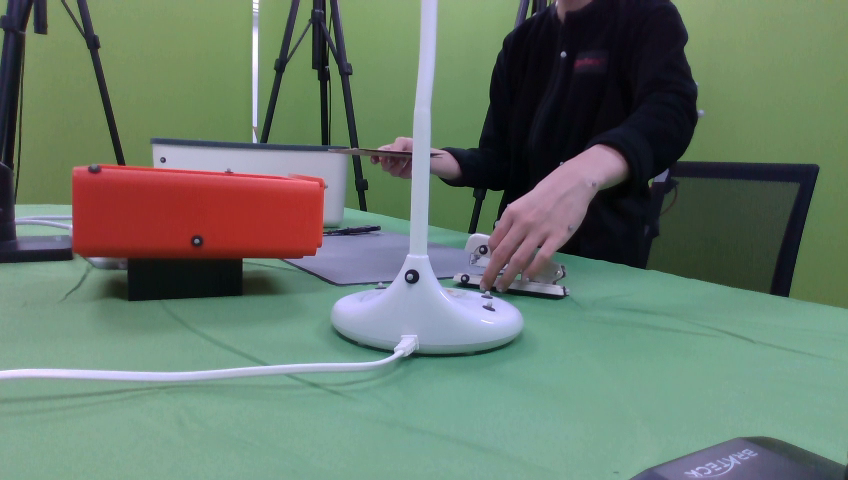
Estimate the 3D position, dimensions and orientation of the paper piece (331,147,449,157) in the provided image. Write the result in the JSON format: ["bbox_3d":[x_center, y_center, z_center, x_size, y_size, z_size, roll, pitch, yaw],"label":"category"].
[{"bbox_3d":[-0.055,-0.129,0.887,0.139,0.008,0.135,1,8,-28],"label":"paper piece"}]

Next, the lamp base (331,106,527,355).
[{"bbox_3d":[0.006,-0.012,0.478,0.161,0.180,0.179,2,10,2],"label":"lamp base"}]

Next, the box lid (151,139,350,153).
[{"bbox_3d":[-0.352,-0.191,1.256,0.373,0.015,0.262,0,8,-18],"label":"box lid"}]

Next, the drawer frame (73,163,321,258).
[{"bbox_3d":[-0.232,-0.034,0.635,0.214,0.082,0.201,1,8,-23],"label":"drawer frame"}]

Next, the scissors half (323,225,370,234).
[{"bbox_3d":[-0.166,-0.015,1.094,0.040,0.013,0.176,2,7,39],"label":"scissors half"}]

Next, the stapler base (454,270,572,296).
[{"bbox_3d":[0.098,0.043,0.677,0.130,0.024,0.041,7,2,25],"label":"stapler base"}]

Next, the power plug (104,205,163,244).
[{"bbox_3d":[-0.390,-0.021,0.815,0.073,0.052,0.035,-1,8,-27],"label":"power plug"}]

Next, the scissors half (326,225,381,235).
[{"bbox_3d":[-0.152,-0.014,1.079,0.176,0.013,0.040,-7,2,-33],"label":"scissors half"}]

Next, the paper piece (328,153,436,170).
[{"bbox_3d":[-0.064,-0.117,0.891,0.136,0.004,0.135,2,14,-21],"label":"paper piece"}]

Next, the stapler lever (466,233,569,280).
[{"bbox_3d":[0.103,0.018,0.677,0.117,0.040,0.027,8,2,25],"label":"stapler lever"}]

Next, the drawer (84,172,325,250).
[{"bbox_3d":[-0.227,-0.036,0.638,0.213,0.073,0.193,-1,9,-23],"label":"drawer"}]

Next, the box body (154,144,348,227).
[{"bbox_3d":[-0.357,-0.119,1.264,0.365,0.160,0.253,0,7,-18],"label":"box body"}]

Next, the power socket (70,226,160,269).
[{"bbox_3d":[-0.409,0.004,0.793,0.072,0.032,0.225,-2,8,-38],"label":"power socket"}]
